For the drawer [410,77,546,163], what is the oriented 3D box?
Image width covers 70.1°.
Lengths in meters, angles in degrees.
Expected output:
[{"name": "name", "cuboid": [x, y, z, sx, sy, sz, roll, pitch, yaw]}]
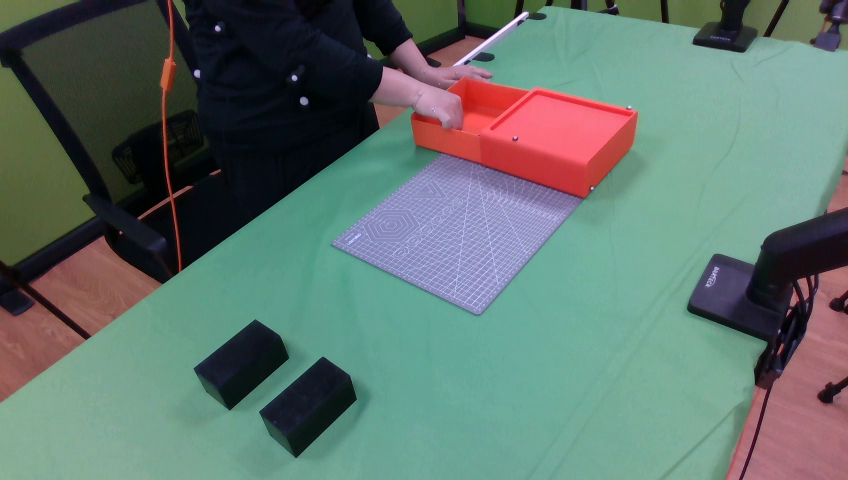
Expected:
[{"name": "drawer", "cuboid": [0.113, -0.235, 1.186, 0.210, 0.073, 0.195, 21, 46, 33]}]

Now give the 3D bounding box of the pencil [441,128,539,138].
[{"name": "pencil", "cuboid": [0.128, -0.209, 1.192, 0.193, 0.012, 0.012, -2, 40, 10]}]

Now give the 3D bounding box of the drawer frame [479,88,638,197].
[{"name": "drawer frame", "cuboid": [0.243, -0.184, 1.100, 0.212, 0.083, 0.202, 23, 48, 30]}]
